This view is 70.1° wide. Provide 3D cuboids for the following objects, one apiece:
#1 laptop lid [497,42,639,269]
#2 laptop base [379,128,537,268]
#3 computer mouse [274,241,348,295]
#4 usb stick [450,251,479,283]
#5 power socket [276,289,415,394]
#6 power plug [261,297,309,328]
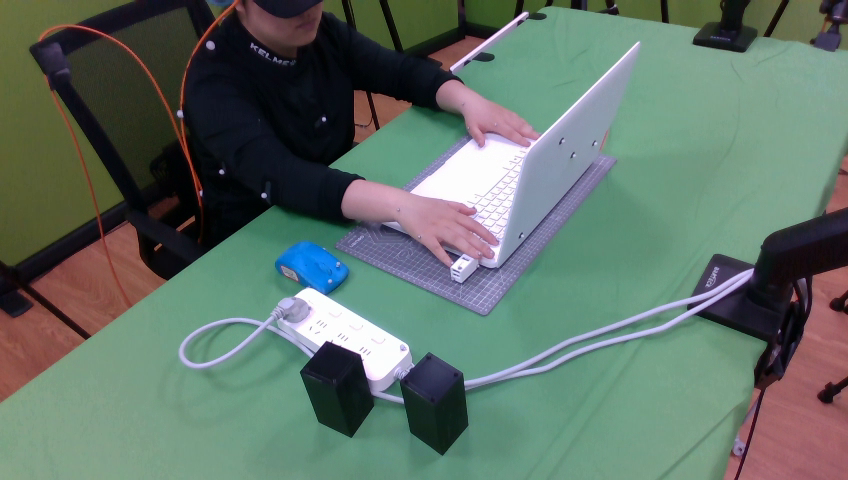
[{"bbox_3d":[0.221,-0.130,0.913,0.013,0.242,0.357,31,51,21],"label":"laptop lid"},{"bbox_3d":[0.118,-0.089,1.058,0.233,0.023,0.355,19,47,33],"label":"laptop base"},{"bbox_3d":[-0.175,0.040,0.935,0.116,0.041,0.063,27,48,27],"label":"computer mouse"},{"bbox_3d":[0.065,0.036,0.900,0.021,0.027,0.059,22,44,32],"label":"usb stick"},{"bbox_3d":[-0.113,0.133,0.821,0.225,0.033,0.072,25,49,33],"label":"power socket"},{"bbox_3d":[-0.192,0.107,0.831,0.073,0.053,0.035,-32,43,-25],"label":"power plug"}]
